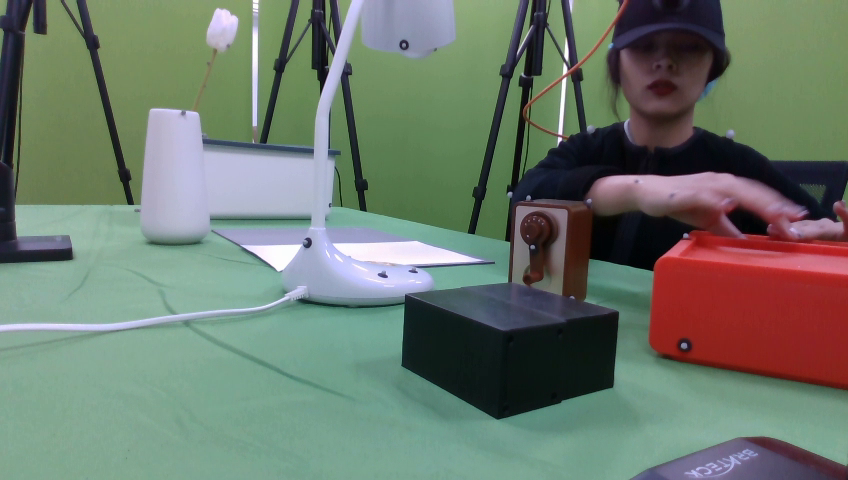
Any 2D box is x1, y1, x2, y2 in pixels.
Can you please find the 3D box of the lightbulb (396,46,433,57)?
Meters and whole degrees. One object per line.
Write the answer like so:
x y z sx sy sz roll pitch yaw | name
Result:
-0.018 -0.265 0.692 0.059 0.108 0.059 -10 27 6 | lightbulb

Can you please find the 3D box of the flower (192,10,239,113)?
-0.354 -0.174 0.915 0.038 0.361 0.044 18 -4 12 | flower

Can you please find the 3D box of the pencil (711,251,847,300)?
0.360 0.035 0.599 0.195 0.012 0.012 15 3 -17 | pencil

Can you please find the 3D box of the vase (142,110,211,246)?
-0.378 -0.093 0.920 0.098 0.200 0.098 2 9 0 | vase

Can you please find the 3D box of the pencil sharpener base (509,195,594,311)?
0.126 0.011 0.602 0.061 0.107 0.077 7 9 31 | pencil sharpener base

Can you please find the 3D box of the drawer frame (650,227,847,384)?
0.307 0.042 0.497 0.201 0.082 0.214 6 9 27 | drawer frame

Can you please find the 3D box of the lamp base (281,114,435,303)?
-0.071 -0.035 0.615 0.160 0.180 0.180 5 10 27 | lamp base

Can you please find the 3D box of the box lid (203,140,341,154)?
-0.396 -0.212 1.373 0.373 0.015 0.262 -1 9 -29 | box lid

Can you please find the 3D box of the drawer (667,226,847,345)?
0.346 0.037 0.574 0.194 0.073 0.212 7 10 27 | drawer

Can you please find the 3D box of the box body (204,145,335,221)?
-0.411 -0.135 1.386 0.366 0.160 0.253 -2 9 -29 | box body

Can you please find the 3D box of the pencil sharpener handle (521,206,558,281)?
0.101 0.003 0.556 0.036 0.067 0.031 0 5 31 | pencil sharpener handle

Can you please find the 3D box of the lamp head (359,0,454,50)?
-0.024 -0.283 0.674 0.112 0.123 0.112 -3 38 3 | lamp head
